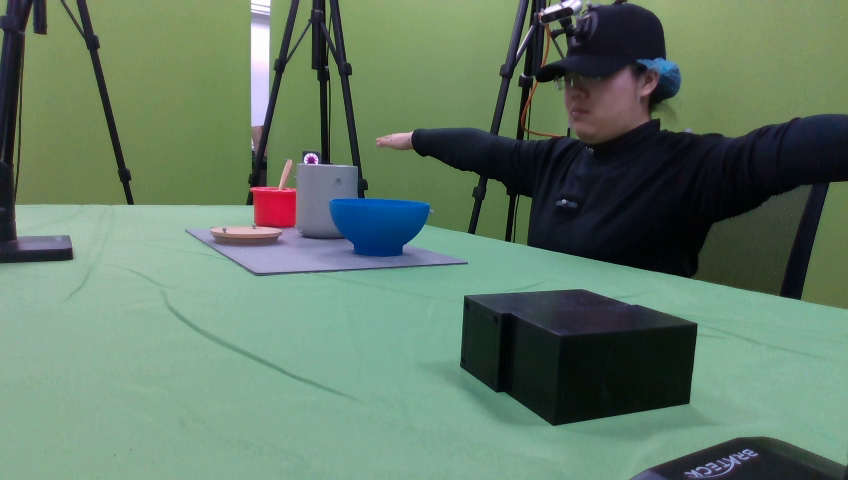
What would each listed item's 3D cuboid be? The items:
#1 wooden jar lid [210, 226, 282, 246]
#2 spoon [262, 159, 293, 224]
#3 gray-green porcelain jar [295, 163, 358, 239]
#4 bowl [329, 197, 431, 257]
[{"bbox_3d":[-0.279,-0.007,0.951,0.108,0.020,0.108,2,8,0],"label":"wooden jar lid"},{"bbox_3d":[-0.290,-0.102,1.227,0.041,0.021,0.193,3,51,3],"label":"spoon"},{"bbox_3d":[-0.170,-0.069,1.054,0.106,0.126,0.106,3,7,0],"label":"gray-green porcelain jar"},{"bbox_3d":[-0.067,-0.019,0.895,0.151,0.077,0.151,3,7,0],"label":"bowl"}]
